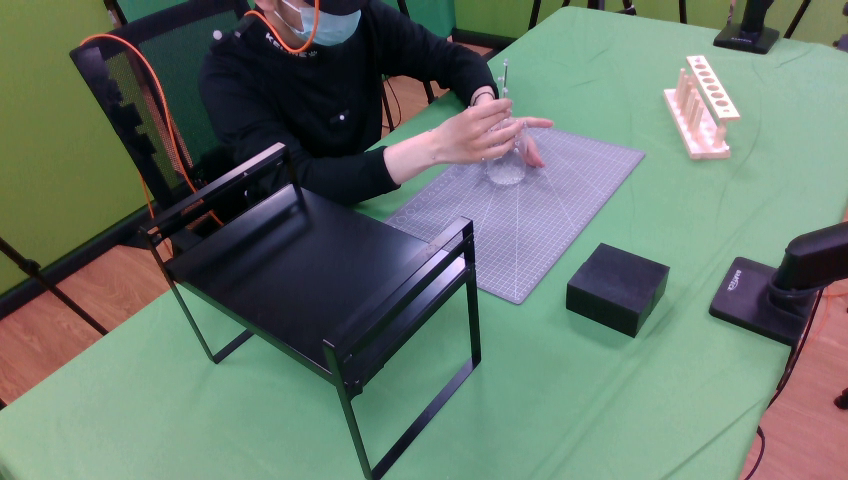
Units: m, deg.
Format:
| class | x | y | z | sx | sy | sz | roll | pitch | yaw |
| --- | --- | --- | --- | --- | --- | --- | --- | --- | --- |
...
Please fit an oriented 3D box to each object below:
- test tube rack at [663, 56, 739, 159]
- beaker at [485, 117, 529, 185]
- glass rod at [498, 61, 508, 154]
| class | x | y | z | sx | sy | sz | roll | pitch | yaw |
| --- | --- | --- | --- | --- | --- | --- | --- | --- | --- |
| test tube rack | 0.517 | -0.256 | 1.144 | 0.066 | 0.085 | 0.241 | -1 | 41 | 8 |
| beaker | 0.150 | -0.156 | 1.066 | 0.084 | 0.101 | 0.073 | -30 | 46 | -25 |
| glass rod | 0.127 | -0.209 | 0.983 | 0.008 | 0.200 | 0.008 | -1 | 56 | 3 |
